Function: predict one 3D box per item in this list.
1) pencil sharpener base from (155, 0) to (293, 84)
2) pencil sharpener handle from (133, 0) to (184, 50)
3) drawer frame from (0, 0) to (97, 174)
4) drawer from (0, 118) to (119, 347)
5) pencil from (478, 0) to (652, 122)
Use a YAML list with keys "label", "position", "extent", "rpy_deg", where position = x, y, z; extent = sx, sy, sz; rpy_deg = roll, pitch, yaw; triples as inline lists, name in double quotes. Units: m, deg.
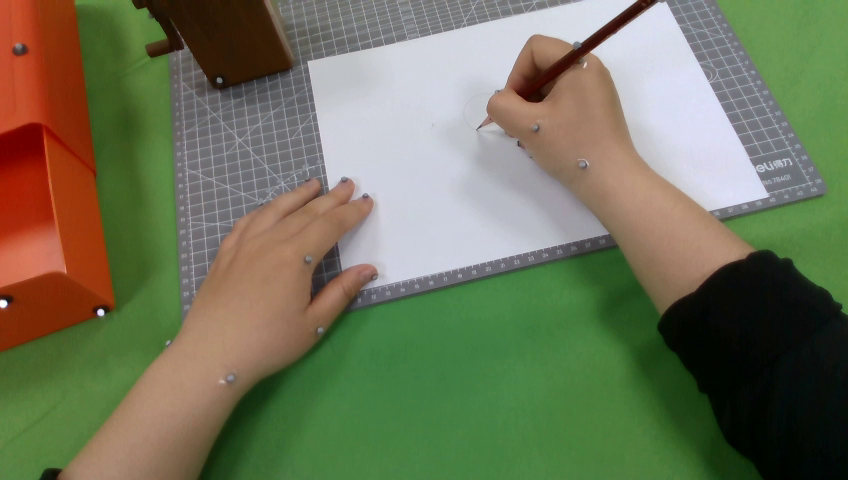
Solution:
- label: "pencil sharpener base"
  position: [-0.154, -0.181, 0.459]
  extent: [0.077, 0.108, 0.061]
  rpy_deg: [-19, 65, -3]
- label: "pencil sharpener handle"
  position: [-0.203, -0.169, 0.445]
  extent: [0.030, 0.068, 0.035]
  rpy_deg: [-19, 62, -3]
- label: "drawer frame"
  position: [-0.378, -0.119, 0.469]
  extent: [0.202, 0.083, 0.211]
  rpy_deg: [-21, 65, -4]
- label: "drawer"
  position: [-0.337, -0.020, 0.422]
  extent: [0.194, 0.074, 0.210]
  rpy_deg: [-21, 65, -4]
- label: "pencil"
  position: [0.090, -0.116, 0.377]
  extent: [0.012, 0.194, 0.012]
  rpy_deg: [11, 68, -29]
